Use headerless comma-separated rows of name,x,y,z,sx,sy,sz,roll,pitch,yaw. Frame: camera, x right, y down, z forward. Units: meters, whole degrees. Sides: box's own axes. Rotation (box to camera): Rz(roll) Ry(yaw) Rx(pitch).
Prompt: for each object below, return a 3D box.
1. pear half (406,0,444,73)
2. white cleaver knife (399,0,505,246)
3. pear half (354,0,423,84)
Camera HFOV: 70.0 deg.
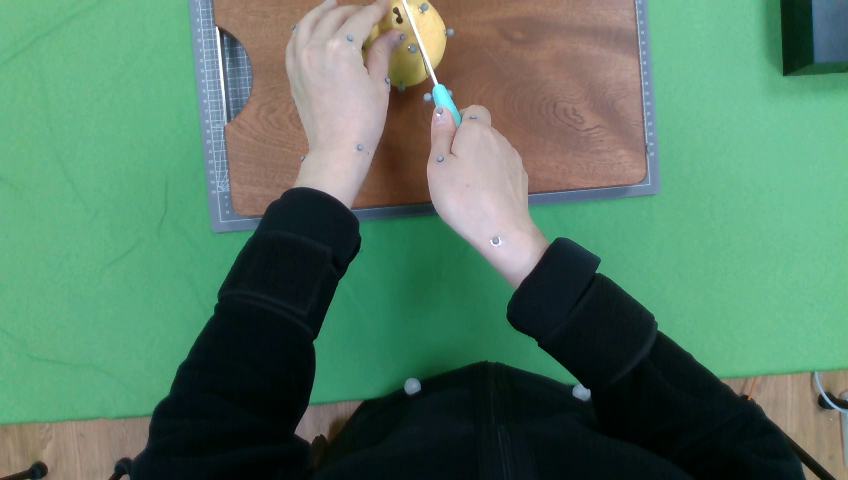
pear half,0.000,-0.188,0.534,0.031,0.088,0.070,-25,86,-1
white cleaver knife,0.008,-0.130,0.480,0.021,0.066,0.286,-20,91,7
pear half,-0.034,-0.174,0.523,0.056,0.110,0.076,-24,86,-1
